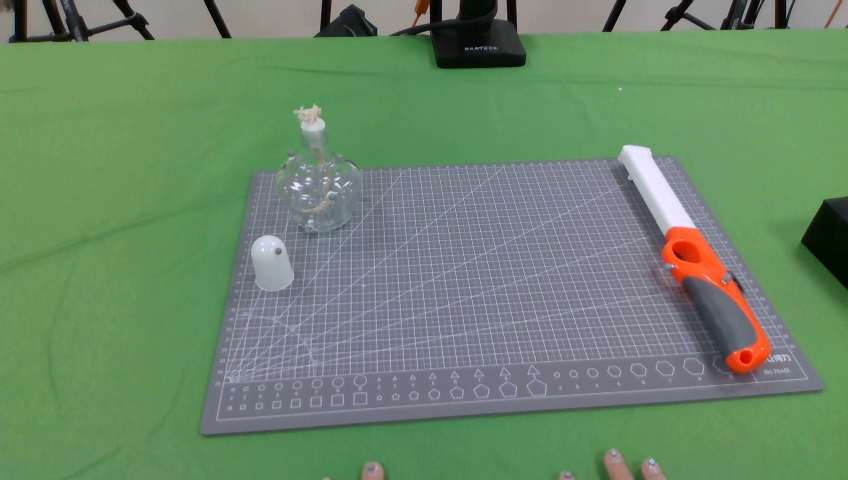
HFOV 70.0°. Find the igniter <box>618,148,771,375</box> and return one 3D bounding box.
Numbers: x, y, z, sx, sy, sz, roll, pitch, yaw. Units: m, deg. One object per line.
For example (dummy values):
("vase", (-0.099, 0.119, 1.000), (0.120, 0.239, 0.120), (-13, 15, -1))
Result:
("igniter", (0.231, 0.003, 0.539), (0.057, 0.025, 0.273), (5, 42, -11))

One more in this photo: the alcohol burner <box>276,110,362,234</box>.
("alcohol burner", (-0.095, -0.064, 0.539), (0.078, 0.120, 0.077), (2, 44, -2))

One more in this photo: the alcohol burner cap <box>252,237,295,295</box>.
("alcohol burner cap", (-0.126, 0.018, 0.502), (0.034, 0.048, 0.033), (1, 43, -1))
